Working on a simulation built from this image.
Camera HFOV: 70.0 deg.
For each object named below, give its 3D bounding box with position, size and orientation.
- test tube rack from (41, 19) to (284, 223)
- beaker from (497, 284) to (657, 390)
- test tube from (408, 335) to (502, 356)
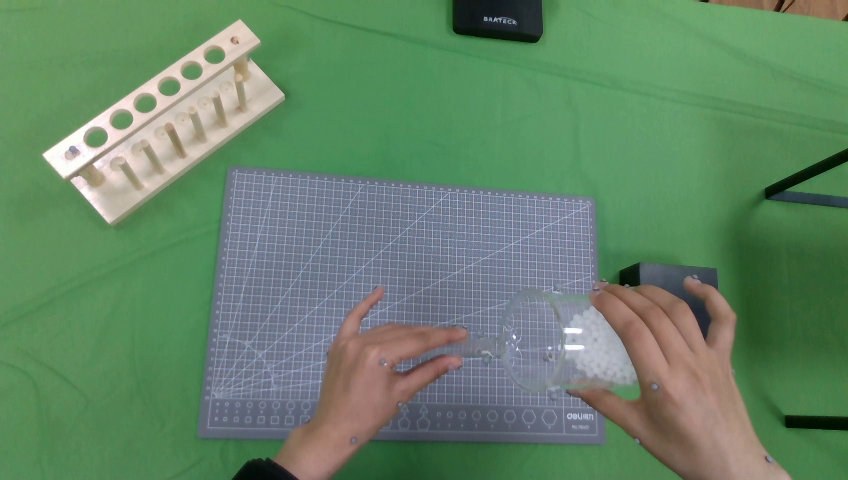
[{"bbox_3d":[-0.270,-0.128,0.658,0.242,0.085,0.066,-42,86,-17],"label":"test tube rack"},{"bbox_3d":[0.115,0.076,0.457,0.101,0.084,0.073,7,71,-27],"label":"beaker"},{"bbox_3d":[0.022,0.094,0.534,0.017,0.150,0.017,5,78,-26],"label":"test tube"}]
